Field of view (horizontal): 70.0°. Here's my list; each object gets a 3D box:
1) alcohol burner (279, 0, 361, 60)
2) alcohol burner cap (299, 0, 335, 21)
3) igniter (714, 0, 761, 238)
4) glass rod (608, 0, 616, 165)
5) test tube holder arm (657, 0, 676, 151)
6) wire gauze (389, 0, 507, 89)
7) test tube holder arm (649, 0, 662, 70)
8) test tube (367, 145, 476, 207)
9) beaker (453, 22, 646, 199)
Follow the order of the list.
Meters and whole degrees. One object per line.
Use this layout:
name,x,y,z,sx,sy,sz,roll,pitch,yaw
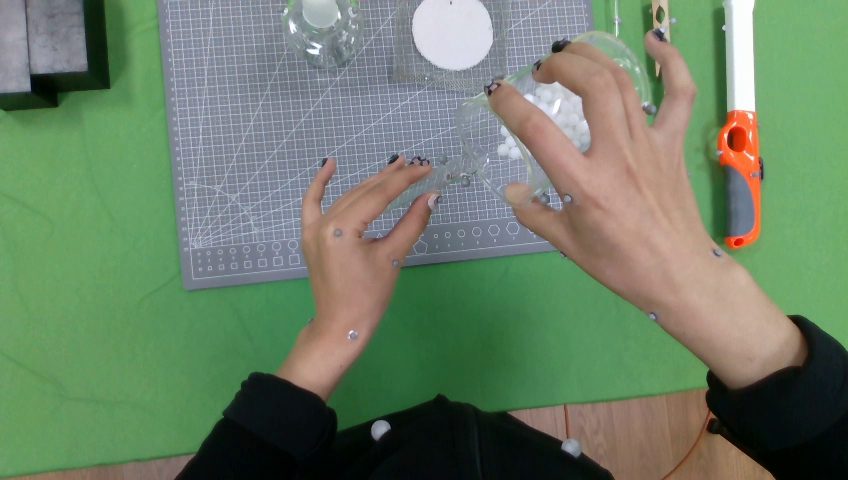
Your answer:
alcohol burner,-0.099,-0.215,0.568,0.078,0.119,0.078,0,87,-4
alcohol burner cap,-0.096,-0.219,0.532,0.034,0.048,0.033,1,81,-6
igniter,0.342,-0.139,0.661,0.057,0.025,0.276,1,87,-17
glass rod,0.204,-0.180,0.656,0.008,0.008,0.199,-1,90,-7
test tube holder arm,0.262,-0.186,0.656,0.013,0.015,0.178,-6,87,29
wire gauze,0.028,-0.226,0.636,0.125,0.011,0.121,5,88,-7
test tube holder arm,0.253,-0.230,0.661,0.010,0.015,0.087,-5,88,29
test tube,-0.008,-0.046,0.468,0.017,0.150,0.017,5,79,-30
beaker,0.078,-0.082,0.377,0.100,0.083,0.074,-33,99,-14
